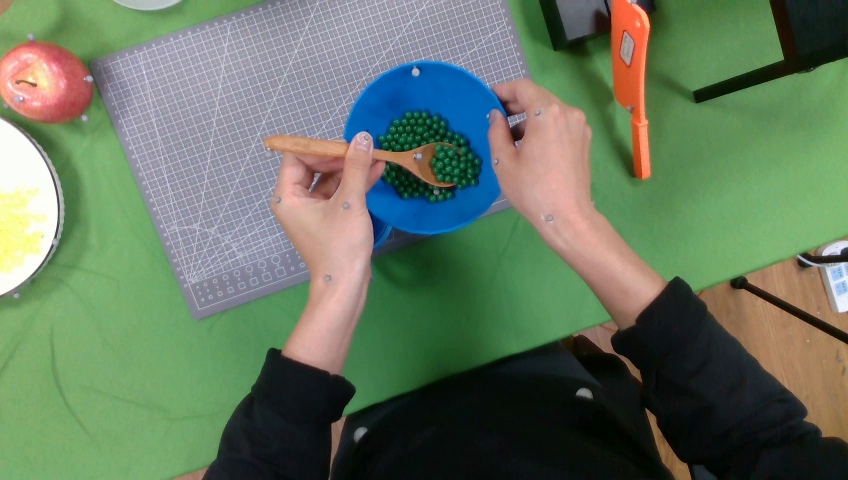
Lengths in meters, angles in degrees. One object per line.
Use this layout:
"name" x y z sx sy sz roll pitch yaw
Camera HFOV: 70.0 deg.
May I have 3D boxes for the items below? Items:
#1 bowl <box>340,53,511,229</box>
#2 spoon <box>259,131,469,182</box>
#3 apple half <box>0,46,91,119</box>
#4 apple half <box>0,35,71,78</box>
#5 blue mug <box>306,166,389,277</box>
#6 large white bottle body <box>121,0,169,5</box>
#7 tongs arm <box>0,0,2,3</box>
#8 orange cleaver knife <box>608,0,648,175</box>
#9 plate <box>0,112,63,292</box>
"bowl" 0.004 -0.089 0.559 0.151 0.076 0.151 1 99 5
"spoon" -0.042 -0.076 0.511 0.195 0.021 0.041 2 95 -37
"apple half" -0.376 -0.152 0.615 0.081 0.074 0.053 -35 101 -4
"apple half" -0.398 -0.184 0.608 0.081 0.081 0.033 -34 102 -1
"blue mug" -0.073 -0.018 0.636 0.082 0.105 0.117 -12 96 -4
"large white bottle body" -0.289 -0.307 0.552 0.131 0.184 0.130 0 94 -4
"tongs arm" -0.599 -0.257 0.569 0.385 0.026 0.051 9 91 -4
"orange cleaver knife" 0.222 -0.170 0.660 0.012 0.076 0.213 -21 128 -3
"plate" -0.483 -0.042 0.633 0.209 0.038 0.209 0 96 -5
